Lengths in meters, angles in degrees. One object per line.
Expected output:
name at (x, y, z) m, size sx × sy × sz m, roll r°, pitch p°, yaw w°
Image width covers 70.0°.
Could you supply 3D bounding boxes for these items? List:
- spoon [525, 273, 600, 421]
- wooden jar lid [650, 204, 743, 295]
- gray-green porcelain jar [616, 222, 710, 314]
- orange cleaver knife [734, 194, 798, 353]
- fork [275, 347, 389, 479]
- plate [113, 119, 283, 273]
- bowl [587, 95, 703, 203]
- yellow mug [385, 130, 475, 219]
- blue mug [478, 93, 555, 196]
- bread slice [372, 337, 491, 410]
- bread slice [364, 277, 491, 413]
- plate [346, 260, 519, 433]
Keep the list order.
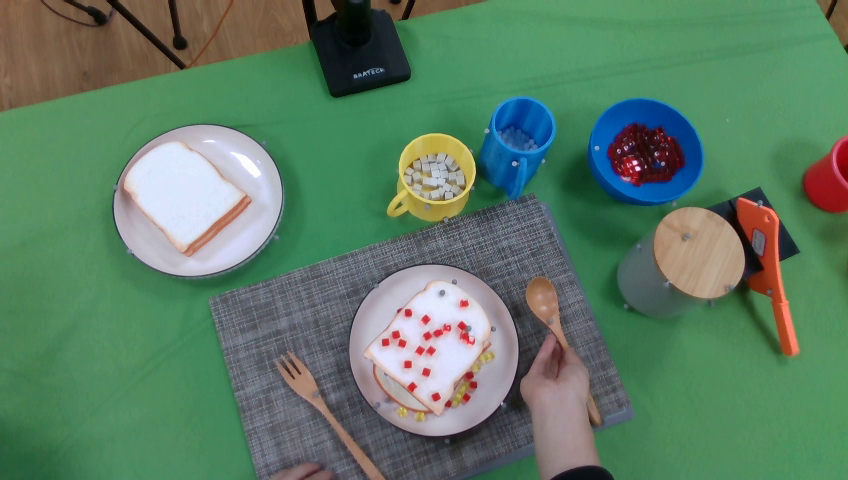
spoon at (0.174, 0.132, 0.748) m, size 0.042 × 0.022 × 0.193 m, roll -20°, pitch 80°, yaw -19°
wooden jar lid at (0.308, 0.012, 0.690) m, size 0.108 × 0.021 × 0.108 m, roll 2°, pitch 74°, yaw -7°
gray-green porcelain jar at (0.304, 0.032, 0.750) m, size 0.106 × 0.127 × 0.105 m, roll 2°, pitch 72°, yaw -4°
orange cleaver knife at (0.439, 0.043, 0.780) m, size 0.012 × 0.077 × 0.212 m, roll -19°, pitch 101°, yaw -10°
fork at (-0.106, 0.210, 0.712) m, size 0.028 × 0.019 × 0.206 m, roll -37°, pitch 77°, yaw -21°
plate at (-0.284, -0.055, 0.776) m, size 0.208 × 0.039 × 0.206 m, roll 1°, pitch 72°, yaw -4°
bowl at (0.285, -0.111, 0.819) m, size 0.151 × 0.077 × 0.150 m, roll 1°, pitch 72°, yaw -4°
yellow mug at (0.002, -0.076, 0.791) m, size 0.131 × 0.064 × 0.099 m, roll -38°, pitch 78°, yaw -13°
blue mug at (0.119, -0.115, 0.793) m, size 0.082 × 0.106 × 0.116 m, roll 3°, pitch 72°, yaw -3°
bread slice at (0.005, 0.140, 0.737) m, size 0.104 × 0.019 × 0.131 m, roll 37°, pitch 71°, yaw 9°
bread slice at (0.010, 0.108, 0.683) m, size 0.107 × 0.018 × 0.134 m, roll 36°, pitch 67°, yaw 2°
plate at (0.010, 0.127, 0.738) m, size 0.209 × 0.038 × 0.208 m, roll 1°, pitch 72°, yaw -4°
